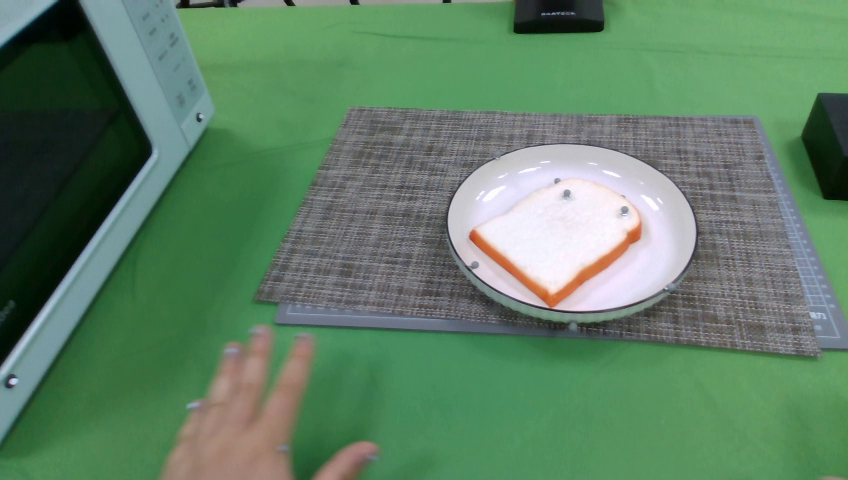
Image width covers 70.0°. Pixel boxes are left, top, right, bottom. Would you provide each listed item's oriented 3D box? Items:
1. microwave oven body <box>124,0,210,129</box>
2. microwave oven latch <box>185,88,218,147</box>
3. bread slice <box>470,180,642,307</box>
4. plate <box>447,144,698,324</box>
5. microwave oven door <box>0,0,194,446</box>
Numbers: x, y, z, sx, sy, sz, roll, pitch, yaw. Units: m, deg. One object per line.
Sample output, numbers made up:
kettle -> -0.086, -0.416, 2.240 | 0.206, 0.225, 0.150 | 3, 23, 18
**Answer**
microwave oven body -> -0.443, -0.087, 0.520 | 0.325, 0.263, 0.438 | 3, 47, 9
microwave oven latch -> -0.261, -0.139, 0.686 | 0.030, 0.030, 0.078 | 3, 47, 10
bread slice -> 0.121, -0.008, 0.529 | 0.131, 0.019, 0.104 | -31, 50, -22
plate -> 0.124, -0.008, 0.526 | 0.209, 0.038, 0.207 | -4, 45, 4
microwave oven door -> -0.305, -0.055, 0.464 | 0.039, 0.246, 0.352 | 2, 46, 10
